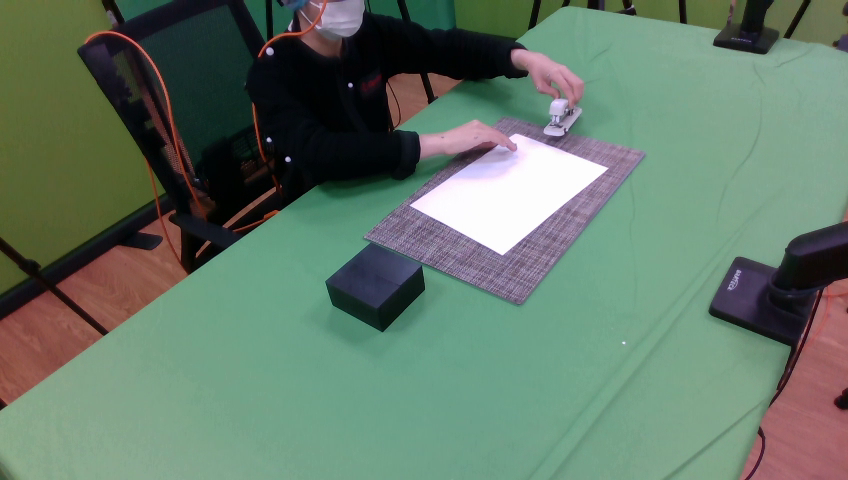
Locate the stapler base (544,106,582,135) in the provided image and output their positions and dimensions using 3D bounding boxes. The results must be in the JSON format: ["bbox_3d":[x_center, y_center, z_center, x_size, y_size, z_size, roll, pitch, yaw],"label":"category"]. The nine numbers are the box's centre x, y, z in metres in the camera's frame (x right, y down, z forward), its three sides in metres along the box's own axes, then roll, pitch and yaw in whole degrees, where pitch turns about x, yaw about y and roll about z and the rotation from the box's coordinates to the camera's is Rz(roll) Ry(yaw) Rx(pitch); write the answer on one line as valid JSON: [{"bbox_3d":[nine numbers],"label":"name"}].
[{"bbox_3d":[0.275,-0.242,1.188,0.041,0.024,0.131,17,37,24],"label":"stapler base"}]

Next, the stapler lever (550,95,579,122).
[{"bbox_3d":[0.274,-0.264,1.175,0.026,0.040,0.118,16,37,24],"label":"stapler lever"}]
